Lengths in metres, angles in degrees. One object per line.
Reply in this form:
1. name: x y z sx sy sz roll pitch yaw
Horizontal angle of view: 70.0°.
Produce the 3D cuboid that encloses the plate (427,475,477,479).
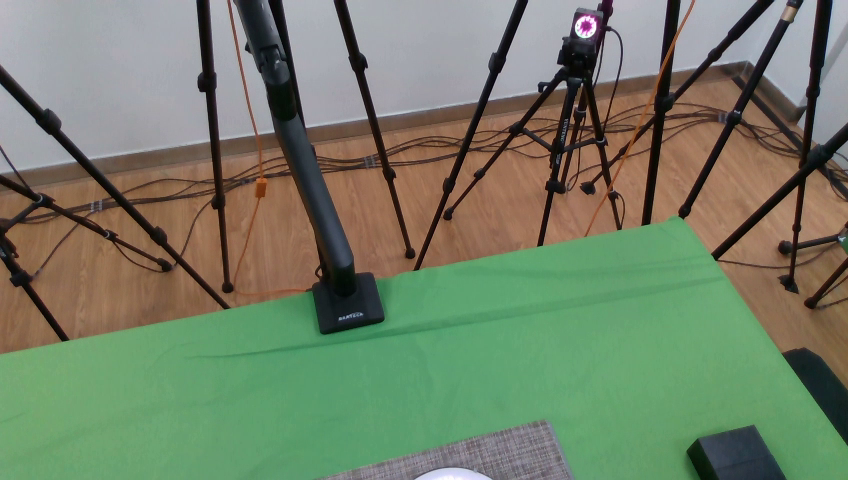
1. plate: 0.041 0.438 0.849 0.209 0.038 0.207 1 49 -1
